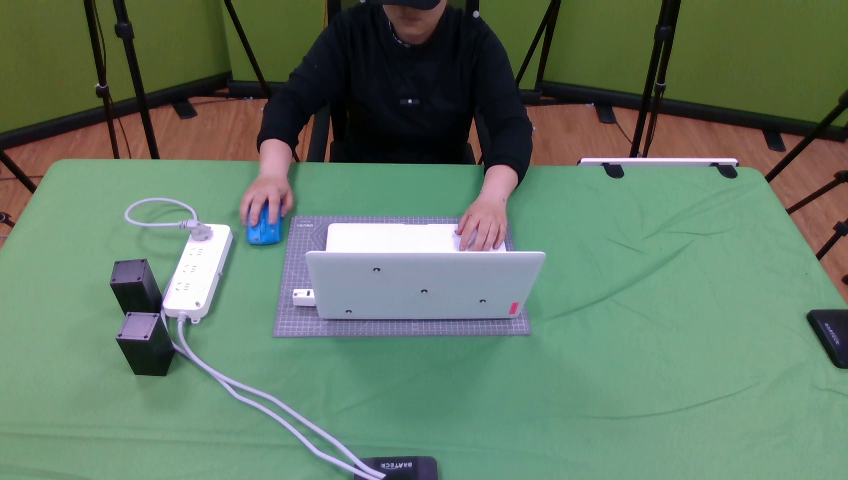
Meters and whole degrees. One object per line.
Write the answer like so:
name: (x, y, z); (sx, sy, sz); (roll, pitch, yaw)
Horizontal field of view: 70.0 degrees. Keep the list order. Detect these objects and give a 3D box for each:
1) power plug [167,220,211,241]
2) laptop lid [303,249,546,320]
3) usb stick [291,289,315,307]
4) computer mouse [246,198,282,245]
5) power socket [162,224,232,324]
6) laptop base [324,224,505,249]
power plug: (-0.438, -0.017, 1.143); (0.072, 0.053, 0.035); (10, 43, 7)
laptop lid: (-0.002, 0.077, 0.962); (0.357, 0.242, 0.013); (1, 58, -5)
usb stick: (-0.203, 0.102, 1.066); (0.059, 0.027, 0.021); (4, 45, -5)
computer mouse: (-0.317, -0.040, 1.201); (0.063, 0.041, 0.116); (0, 50, -7)
power socket: (-0.411, 0.052, 1.106); (0.072, 0.033, 0.225); (4, 45, -1)
laptop base: (-0.014, 0.055, 1.144); (0.355, 0.023, 0.234); (0, 42, -4)
